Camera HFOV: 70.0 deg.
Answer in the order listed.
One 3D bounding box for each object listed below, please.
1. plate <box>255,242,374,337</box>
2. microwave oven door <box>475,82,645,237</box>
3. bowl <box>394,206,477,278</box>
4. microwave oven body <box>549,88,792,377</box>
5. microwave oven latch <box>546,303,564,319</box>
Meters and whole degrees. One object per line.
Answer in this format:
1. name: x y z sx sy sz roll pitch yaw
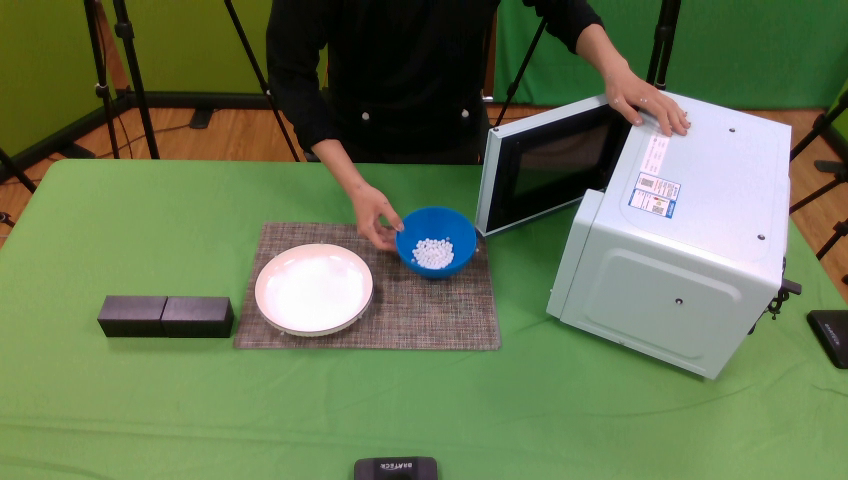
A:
1. plate: -0.192 0.090 1.079 0.208 0.039 0.206 2 46 -2
2. microwave oven door: 0.269 -0.159 1.193 0.356 0.245 0.039 -21 50 -22
3. bowl: 0.021 0.018 1.125 0.151 0.077 0.150 0 51 0
4. microwave oven body: 0.456 -0.028 1.088 0.325 0.261 0.440 20 47 16
5. microwave oven latch: 0.242 0.102 1.081 0.030 0.029 0.079 22 48 17
